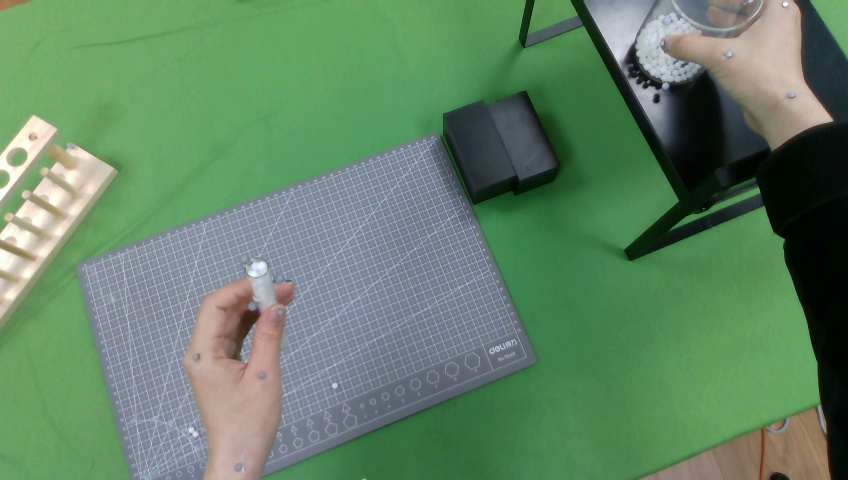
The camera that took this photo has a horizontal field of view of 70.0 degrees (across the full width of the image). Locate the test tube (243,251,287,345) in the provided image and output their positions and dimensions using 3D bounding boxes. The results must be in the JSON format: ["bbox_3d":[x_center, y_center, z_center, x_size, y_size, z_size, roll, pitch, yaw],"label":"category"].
[{"bbox_3d":[-0.115,0.048,0.447,0.017,0.151,0.017,3,61,-6],"label":"test tube"}]

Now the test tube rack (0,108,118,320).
[{"bbox_3d":[-0.459,-0.017,0.669,0.066,0.085,0.242,30,78,8],"label":"test tube rack"}]

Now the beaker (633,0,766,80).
[{"bbox_3d":[0.222,-0.188,0.507,0.074,0.100,0.083,-24,79,-4],"label":"beaker"}]
